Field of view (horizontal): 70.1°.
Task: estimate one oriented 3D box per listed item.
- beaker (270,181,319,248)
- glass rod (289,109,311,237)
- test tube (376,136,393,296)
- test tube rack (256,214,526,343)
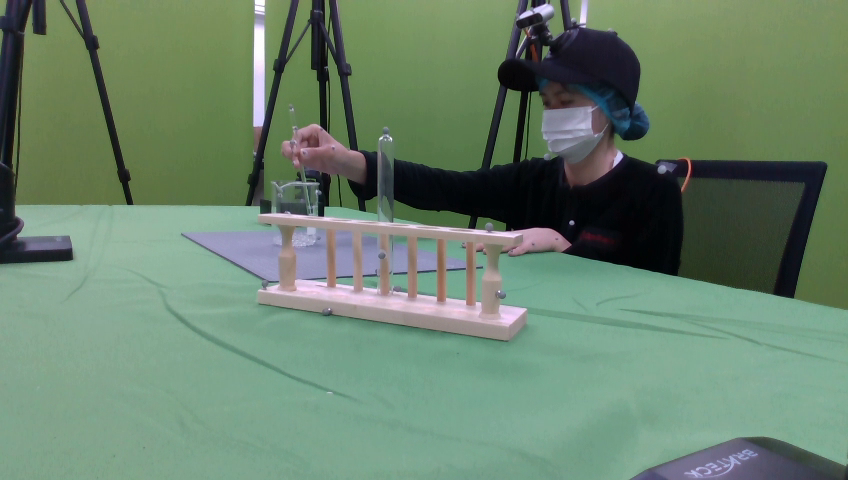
[{"bbox_3d":[-0.203,-0.040,0.935,0.074,0.100,0.084,5,8,18],"label":"beaker"},{"bbox_3d":[-0.191,-0.101,0.936,0.008,0.199,0.008,-6,13,2],"label":"glass rod"},{"bbox_3d":[-0.037,-0.022,0.565,0.017,0.150,0.017,1,6,0],"label":"test tube"},{"bbox_3d":[-0.032,0.027,0.547,0.241,0.085,0.067,5,7,22],"label":"test tube rack"}]
